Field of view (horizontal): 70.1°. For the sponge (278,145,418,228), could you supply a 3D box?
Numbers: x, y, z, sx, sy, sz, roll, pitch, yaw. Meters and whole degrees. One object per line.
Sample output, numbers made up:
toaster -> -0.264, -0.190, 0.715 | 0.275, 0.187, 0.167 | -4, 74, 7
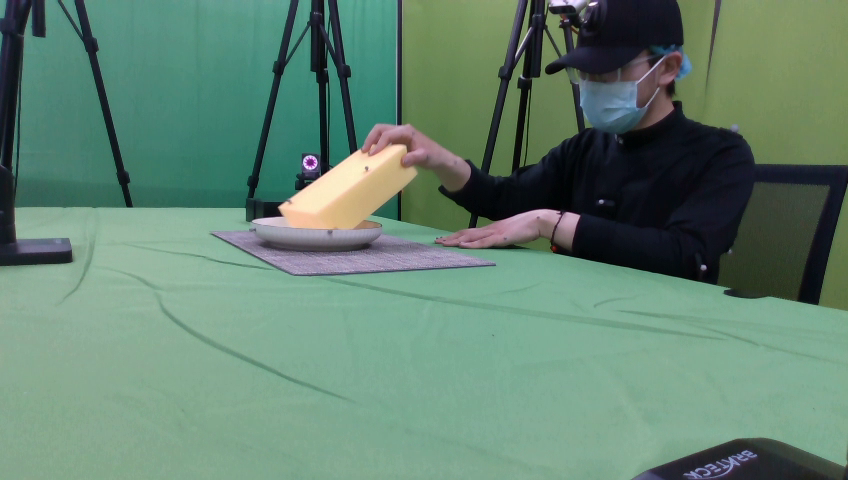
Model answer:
sponge -> -0.125, -0.082, 1.007 | 0.117, 0.061, 0.207 | 9, 41, 48

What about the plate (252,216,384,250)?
plate -> -0.169, -0.012, 0.976 | 0.208, 0.039, 0.207 | 2, 7, 0
